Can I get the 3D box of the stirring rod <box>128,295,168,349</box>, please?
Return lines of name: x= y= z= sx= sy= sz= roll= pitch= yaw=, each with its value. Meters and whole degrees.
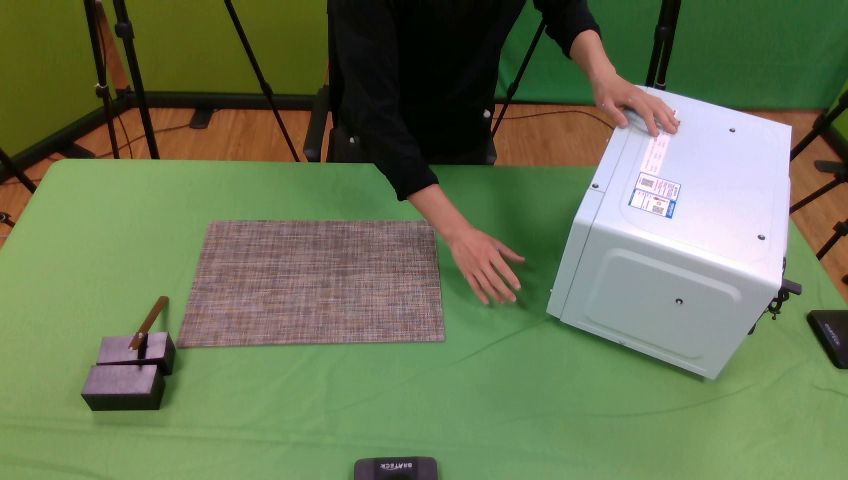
stirring rod: x=-0.451 y=0.131 z=0.996 sx=0.014 sy=0.006 sz=0.175 roll=9 pitch=21 yaw=-10

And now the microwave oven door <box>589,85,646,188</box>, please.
microwave oven door: x=0.342 y=-0.107 z=1.149 sx=0.039 sy=0.245 sz=0.354 roll=21 pitch=48 yaw=15

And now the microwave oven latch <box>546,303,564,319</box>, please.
microwave oven latch: x=0.242 y=0.102 z=1.081 sx=0.030 sy=0.029 sz=0.079 roll=21 pitch=48 yaw=17

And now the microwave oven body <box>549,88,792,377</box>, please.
microwave oven body: x=0.456 y=-0.028 z=1.088 sx=0.325 sy=0.261 sz=0.440 roll=20 pitch=47 yaw=16
